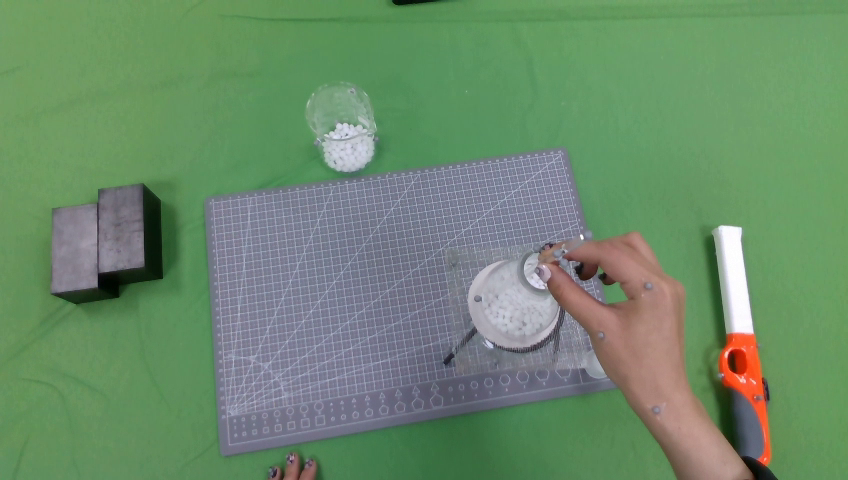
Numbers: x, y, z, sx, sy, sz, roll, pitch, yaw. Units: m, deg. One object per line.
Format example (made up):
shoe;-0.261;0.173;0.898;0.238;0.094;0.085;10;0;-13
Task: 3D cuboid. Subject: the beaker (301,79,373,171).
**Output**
beaker;-0.095;-0.129;0.712;0.084;0.101;0.074;26;74;6

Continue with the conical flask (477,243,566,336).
conical flask;0.088;0.037;0.515;0.075;0.122;0.075;1;74;-1

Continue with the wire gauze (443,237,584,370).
wire gauze;0.084;0.059;0.570;0.125;0.011;0.121;-3;76;-4

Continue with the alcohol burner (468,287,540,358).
alcohol burner;0.086;0.084;0.641;0.078;0.120;0.077;0;73;1

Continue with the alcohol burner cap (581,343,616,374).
alcohol burner cap;0.195;0.129;0.668;0.034;0.048;0.033;0;73;-1

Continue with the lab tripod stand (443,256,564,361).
lab tripod stand;0.085;0.080;0.632;0.148;0.132;0.147;0;75;-1

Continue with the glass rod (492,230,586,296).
glass rod;0.082;0.023;0.470;0.008;0.200;0.008;3;74;-9

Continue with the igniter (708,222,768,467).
igniter;0.355;0.112;0.688;0.057;0.025;0.275;5;72;-11
